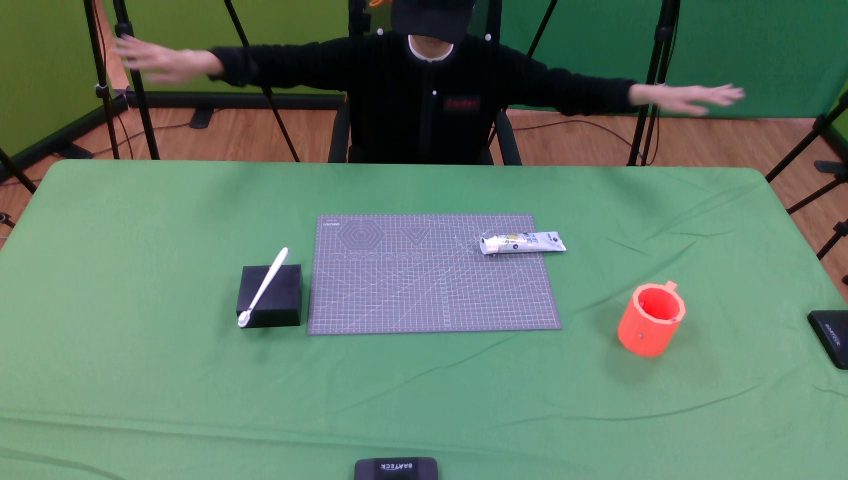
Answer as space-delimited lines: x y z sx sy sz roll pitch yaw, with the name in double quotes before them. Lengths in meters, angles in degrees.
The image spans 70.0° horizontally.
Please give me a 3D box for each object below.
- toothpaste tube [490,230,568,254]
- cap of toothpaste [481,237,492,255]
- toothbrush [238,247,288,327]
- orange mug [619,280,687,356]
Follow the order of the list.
"toothpaste tube" 0.201 0.006 1.195 0.165 0.034 0.054 -5 51 -14
"cap of toothpaste" 0.122 0.011 1.176 0.011 0.037 0.037 -16 49 -16
"toothbrush" -0.274 0.075 1.040 0.014 0.017 0.181 11 46 10
"orange mug" 0.401 0.125 1.045 0.083 0.101 0.126 30 56 24
